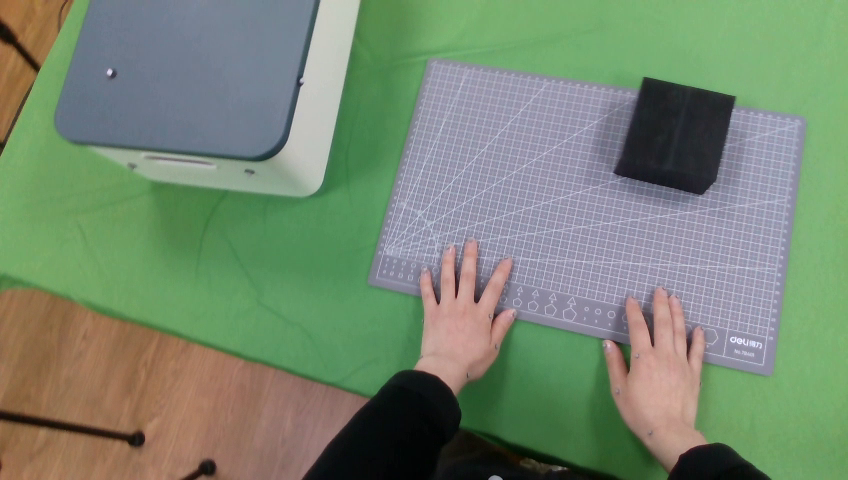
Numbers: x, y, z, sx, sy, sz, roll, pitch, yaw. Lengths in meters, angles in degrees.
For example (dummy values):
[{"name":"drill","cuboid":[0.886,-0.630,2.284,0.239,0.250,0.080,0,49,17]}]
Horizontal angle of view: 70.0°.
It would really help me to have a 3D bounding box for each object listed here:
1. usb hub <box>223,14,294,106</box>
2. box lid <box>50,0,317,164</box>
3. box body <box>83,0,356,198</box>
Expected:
[{"name":"usb hub","cuboid":[-0.211,-0.232,0.777,0.049,0.025,0.124,12,72,13]},{"name":"box lid","cuboid":[-0.243,-0.261,0.653,0.263,0.015,0.370,6,77,10]},{"name":"box body","cuboid":[-0.232,-0.244,0.725,0.254,0.161,0.362,6,78,9]}]
